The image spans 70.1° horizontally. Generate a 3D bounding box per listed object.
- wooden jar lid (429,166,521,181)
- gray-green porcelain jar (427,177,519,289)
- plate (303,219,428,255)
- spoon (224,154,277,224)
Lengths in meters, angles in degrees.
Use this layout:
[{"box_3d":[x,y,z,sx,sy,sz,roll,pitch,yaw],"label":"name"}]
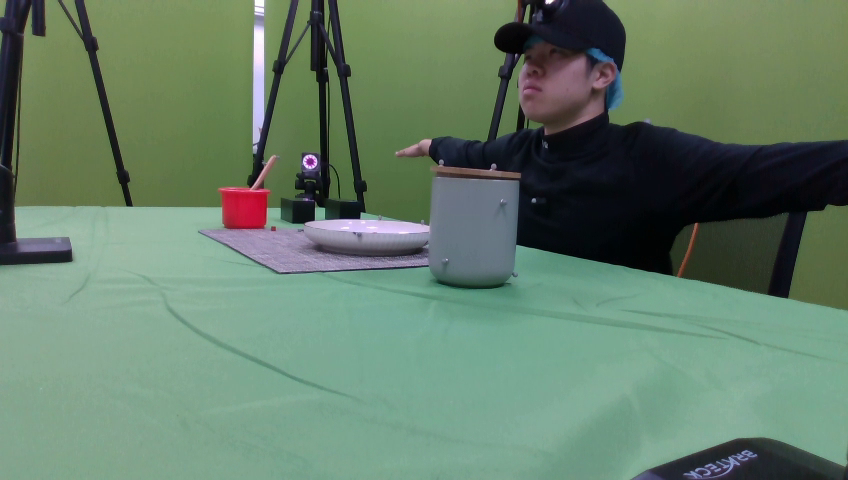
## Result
[{"box_3d":[0.059,-0.074,0.714,0.108,0.020,0.108,4,6,0],"label":"wooden jar lid"},{"box_3d":[0.057,-0.010,0.722,0.106,0.126,0.106,2,7,0],"label":"gray-green porcelain jar"},{"box_3d":[-0.084,-0.005,0.952,0.208,0.039,0.207,3,7,0],"label":"plate"},{"box_3d":[-0.345,-0.106,1.214,0.041,0.022,0.194,1,45,26],"label":"spoon"}]
